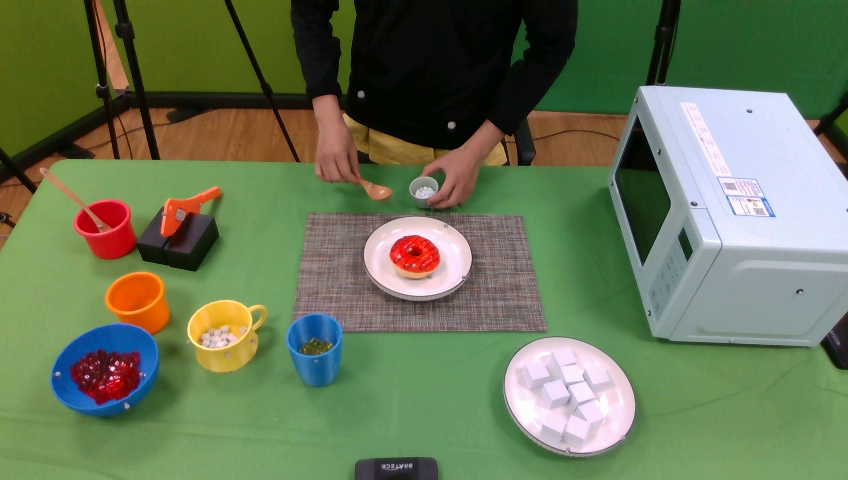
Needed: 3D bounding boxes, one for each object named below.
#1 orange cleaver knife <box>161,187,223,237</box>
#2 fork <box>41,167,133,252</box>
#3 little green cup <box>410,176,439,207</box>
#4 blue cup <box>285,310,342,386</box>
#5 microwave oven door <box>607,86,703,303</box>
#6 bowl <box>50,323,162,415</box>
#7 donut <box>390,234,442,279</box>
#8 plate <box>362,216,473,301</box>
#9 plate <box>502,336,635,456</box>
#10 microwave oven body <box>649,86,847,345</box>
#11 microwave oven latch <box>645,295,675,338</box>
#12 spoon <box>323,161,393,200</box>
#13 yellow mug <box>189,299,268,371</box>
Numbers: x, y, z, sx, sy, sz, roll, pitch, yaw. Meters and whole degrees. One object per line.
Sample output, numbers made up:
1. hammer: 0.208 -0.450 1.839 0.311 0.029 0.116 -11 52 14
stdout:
1. orange cleaver knife: -0.448 -0.058 1.181 0.012 0.077 0.211 13 17 6
2. fork: -0.624 -0.056 1.121 0.208 0.018 0.028 49 51 -15
3. little green cup: 0.002 -0.099 1.267 0.061 0.039 0.061 -2 59 4
4. blue cup: -0.170 0.179 0.958 0.093 0.101 0.092 2 44 -1
5. microwave oven door: 0.423 -0.094 1.141 0.039 0.245 0.353 2 46 -1
6. bowl: -0.472 0.209 0.924 0.151 0.077 0.150 3 45 -2
7. donut: -0.016 0.031 1.135 0.099 0.048 0.098 4 44 -3
8. plate: -0.012 0.038 1.144 0.209 0.038 0.208 2 46 -2
9. plate: 0.225 0.248 0.963 0.208 0.039 0.206 2 46 -2
10. microwave oven body: 0.568 -0.053 1.118 0.326 0.261 0.439 2 45 -1
11. microwave oven latch: 0.412 0.134 1.061 0.030 0.029 0.078 3 45 0
12. spoon: -0.137 -0.127 1.235 0.193 0.022 0.041 32 60 27
13. yellow mug: -0.316 0.148 1.002 0.131 0.064 0.099 -32 56 -31
